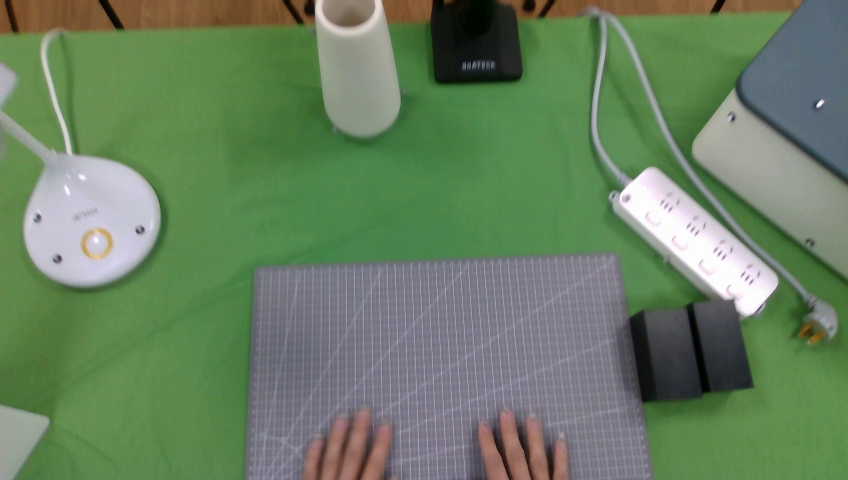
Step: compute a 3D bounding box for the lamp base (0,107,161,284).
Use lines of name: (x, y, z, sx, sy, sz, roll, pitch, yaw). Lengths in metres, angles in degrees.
lamp base: (-0.409, -0.058, 0.671, 0.160, 0.181, 0.178, -32, 73, -12)

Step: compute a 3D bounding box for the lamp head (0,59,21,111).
lamp head: (-0.359, -0.111, 0.400, 0.112, 0.124, 0.111, -26, 40, 24)

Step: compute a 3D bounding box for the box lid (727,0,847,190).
box lid: (0.545, -0.132, 0.658, 0.370, 0.015, 0.263, 41, 76, 11)

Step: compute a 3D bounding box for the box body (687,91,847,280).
box body: (0.543, -0.109, 0.729, 0.362, 0.161, 0.254, 41, 75, 11)

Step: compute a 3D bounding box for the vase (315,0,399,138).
vase: (-0.079, -0.205, 0.722, 0.098, 0.201, 0.097, 1, 70, -2)

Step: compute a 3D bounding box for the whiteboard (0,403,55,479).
whiteboard: (-0.560, 0.199, 0.546, 0.143, 0.308, 0.216, 20, 71, 26)

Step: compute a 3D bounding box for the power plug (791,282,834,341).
power plug: (0.462, 0.092, 0.738, 0.052, 0.035, 0.072, -31, 35, -5)

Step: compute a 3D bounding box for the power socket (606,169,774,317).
power socket: (0.330, 0.002, 0.754, 0.072, 0.033, 0.225, -41, 77, -14)

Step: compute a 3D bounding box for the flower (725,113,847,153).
flower: (0.585, -0.113, 0.805, 0.359, 0.038, 0.044, 26, 62, 26)
